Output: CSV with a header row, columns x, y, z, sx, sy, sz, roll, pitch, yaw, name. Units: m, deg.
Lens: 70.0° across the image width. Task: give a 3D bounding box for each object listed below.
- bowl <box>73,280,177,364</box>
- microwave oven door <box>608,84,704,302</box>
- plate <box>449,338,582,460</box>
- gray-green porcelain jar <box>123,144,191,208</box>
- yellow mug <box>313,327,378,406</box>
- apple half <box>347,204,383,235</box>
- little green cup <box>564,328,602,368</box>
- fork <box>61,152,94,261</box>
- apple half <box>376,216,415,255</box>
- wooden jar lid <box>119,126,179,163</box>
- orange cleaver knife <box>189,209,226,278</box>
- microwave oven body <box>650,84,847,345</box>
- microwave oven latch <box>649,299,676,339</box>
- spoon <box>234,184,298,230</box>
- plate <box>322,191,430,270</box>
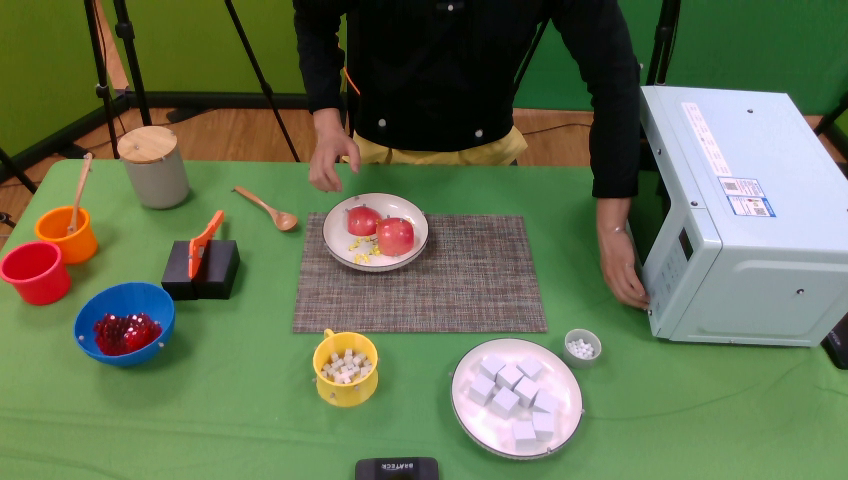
x,y,z,sx,sy,sz,roll,pitch,yaw,name
-0.471,0.147,0.982,0.151,0.077,0.150,2,46,-2,bowl
0.425,-0.096,1.138,0.039,0.245,0.353,2,47,-1,microwave oven door
0.142,0.251,0.955,0.208,0.039,0.206,2,46,-2,plate
-0.530,-0.137,1.214,0.106,0.127,0.105,2,47,-2,gray-green porcelain jar
-0.131,0.193,0.971,0.100,0.064,0.130,-22,51,-22,yellow mug
-0.118,-0.049,1.207,0.081,0.033,0.081,2,51,-2,apple half
0.266,0.185,1.025,0.061,0.039,0.061,3,45,-3,little green cup
-0.637,-0.063,1.120,0.028,0.018,0.207,12,90,8,fork
-0.055,-0.017,1.169,0.075,0.053,0.080,0,46,-7,apple half
-0.527,-0.181,1.167,0.108,0.021,0.107,3,47,-4,wooden jar lid
-0.400,0.002,1.122,0.012,0.077,0.210,5,23,-4,orange cleaver knife
0.569,-0.054,1.116,0.326,0.261,0.439,2,46,-1,microwave oven body
0.415,0.133,1.059,0.030,0.029,0.078,7,46,3,microwave oven latch
-0.326,-0.073,1.239,0.193,0.022,0.041,34,71,25,spoon
-0.093,-0.015,1.185,0.209,0.038,0.208,2,46,-2,plate
